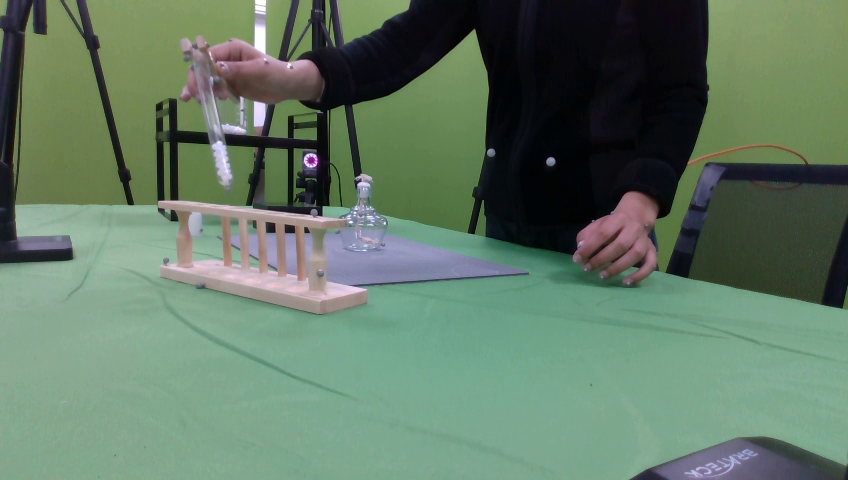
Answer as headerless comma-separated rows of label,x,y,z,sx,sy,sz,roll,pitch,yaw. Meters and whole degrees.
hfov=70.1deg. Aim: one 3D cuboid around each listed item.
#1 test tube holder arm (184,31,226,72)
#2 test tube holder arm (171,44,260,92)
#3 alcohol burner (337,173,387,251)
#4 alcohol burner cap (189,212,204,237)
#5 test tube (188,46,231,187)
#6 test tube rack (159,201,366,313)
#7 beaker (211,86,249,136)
test tube holder arm,-0.236,-0.201,0.656,0.010,0.015,0.088,-40,-5,-4
test tube holder arm,-0.235,-0.196,0.701,0.013,0.015,0.178,-40,-5,8
alcohol burner,-0.095,-0.043,0.926,0.078,0.119,0.078,3,6,0
alcohol burner cap,-0.389,-0.029,1.025,0.034,0.048,0.034,1,8,0
test tube,-0.225,-0.129,0.635,0.017,0.150,0.017,-12,0,0
test tube rack,-0.173,0.009,0.624,0.241,0.085,0.067,7,9,34
beaker,-0.413,-0.274,1.297,0.074,0.100,0.083,-5,11,-44
